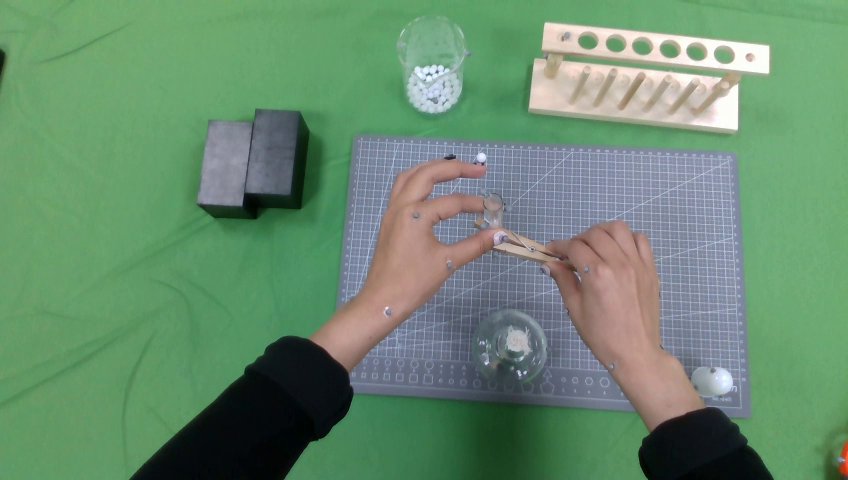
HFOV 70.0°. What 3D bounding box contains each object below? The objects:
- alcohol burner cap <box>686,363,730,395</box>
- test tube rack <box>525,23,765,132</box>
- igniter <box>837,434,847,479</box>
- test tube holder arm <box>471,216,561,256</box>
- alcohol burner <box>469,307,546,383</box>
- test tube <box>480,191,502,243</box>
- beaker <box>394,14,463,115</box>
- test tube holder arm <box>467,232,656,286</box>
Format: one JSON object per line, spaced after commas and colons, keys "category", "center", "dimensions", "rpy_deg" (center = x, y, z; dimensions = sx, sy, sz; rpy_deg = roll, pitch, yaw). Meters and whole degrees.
{"category": "alcohol burner cap", "center": [0.297, 0.144, 0.630], "dimensions": [0.034, 0.048, 0.033], "rpy_deg": [0, 75, 1]}
{"category": "test tube rack", "center": [0.244, -0.183, 0.691], "dimensions": [0.242, 0.085, 0.066], "rpy_deg": [7, 77, 3]}
{"category": "igniter", "center": [0.462, 0.200, 0.623], "dimensions": [0.057, 0.025, 0.275], "rpy_deg": [26, 78, -3]}
{"category": "test tube holder arm", "center": [0.087, -0.001, 0.574], "dimensions": [0.087, 0.015, 0.010], "rpy_deg": [24, 80, 6]}
{"category": "alcohol burner", "center": [0.086, 0.104, 0.607], "dimensions": [0.078, 0.119, 0.077], "rpy_deg": [0, 75, 0]}
{"category": "test tube", "center": [0.058, -0.014, 0.521], "dimensions": [0.017, 0.151, 0.017], "rpy_deg": [-1, 78, 7]}
{"category": "beaker", "center": [0.006, -0.192, 0.690], "dimensions": [0.074, 0.101, 0.083], "rpy_deg": [6, 77, 3]}
{"category": "test tube holder arm", "center": [0.128, 0.018, 0.569], "dimensions": [0.178, 0.015, 0.013], "rpy_deg": [15, 80, 5]}
